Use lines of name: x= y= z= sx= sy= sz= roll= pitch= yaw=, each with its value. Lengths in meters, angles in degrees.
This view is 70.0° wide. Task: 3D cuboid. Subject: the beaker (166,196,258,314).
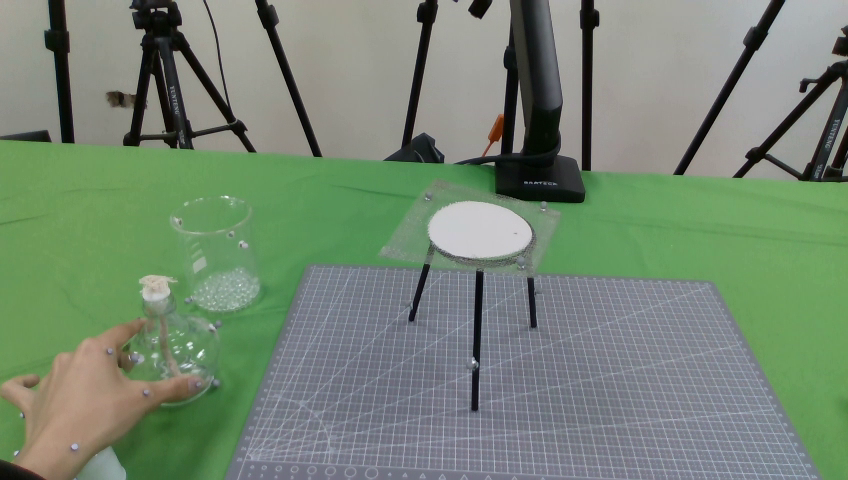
beaker: x=-0.207 y=0.016 z=0.607 sx=0.074 sy=0.101 sz=0.083 roll=10 pitch=34 yaw=11

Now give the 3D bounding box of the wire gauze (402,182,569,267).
wire gauze: x=0.046 y=-0.018 z=0.480 sx=0.125 sy=0.011 sz=0.120 roll=8 pitch=28 yaw=-4

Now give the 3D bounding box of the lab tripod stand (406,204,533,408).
lab tripod stand: x=0.045 y=0.048 z=0.531 sx=0.148 sy=0.132 sz=0.147 roll=2 pitch=35 yaw=-1

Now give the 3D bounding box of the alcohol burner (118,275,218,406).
alcohol burner: x=-0.213 y=0.078 z=0.498 sx=0.078 sy=0.120 sz=0.077 roll=2 pitch=32 yaw=-1

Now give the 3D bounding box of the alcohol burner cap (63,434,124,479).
alcohol burner cap: x=-0.241 y=0.161 z=0.435 sx=0.034 sy=0.048 sz=0.033 roll=-1 pitch=32 yaw=1
